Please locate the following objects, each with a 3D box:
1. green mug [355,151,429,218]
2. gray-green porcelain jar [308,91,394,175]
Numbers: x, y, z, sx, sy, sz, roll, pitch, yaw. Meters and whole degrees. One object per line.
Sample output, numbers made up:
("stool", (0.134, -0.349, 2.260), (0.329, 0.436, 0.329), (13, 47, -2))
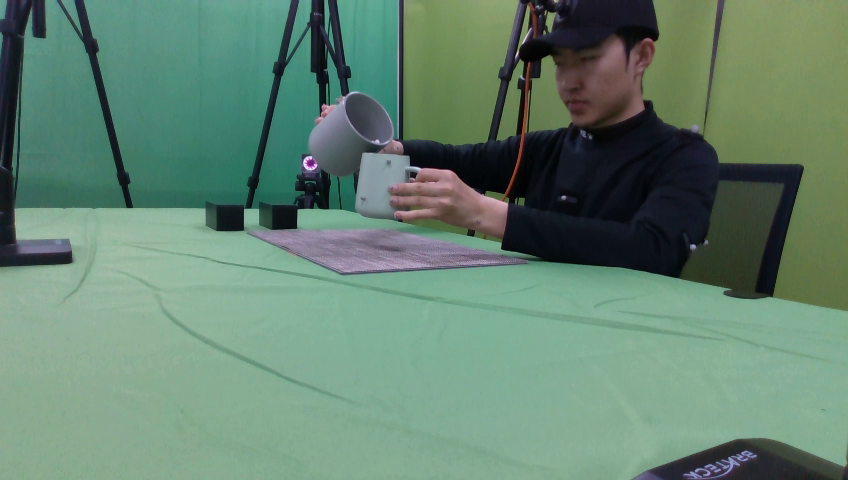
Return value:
("green mug", (-0.051, -0.089, 0.989), (0.125, 0.105, 0.093), (7, 8, 22))
("gray-green porcelain jar", (-0.132, -0.181, 1.052), (0.106, 0.105, 0.126), (-6, -21, -47))
